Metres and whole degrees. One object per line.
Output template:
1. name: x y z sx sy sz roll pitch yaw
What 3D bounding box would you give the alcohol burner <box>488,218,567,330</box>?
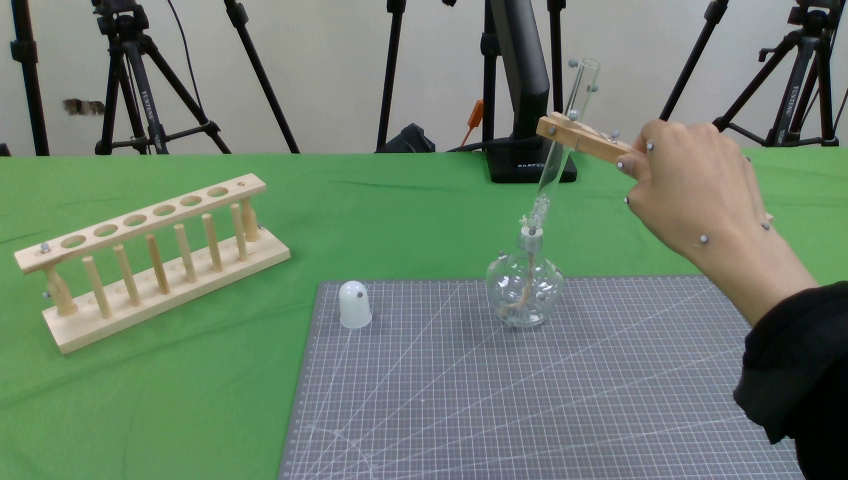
1. alcohol burner: 0.101 0.028 0.585 0.078 0.120 0.077 0 36 0

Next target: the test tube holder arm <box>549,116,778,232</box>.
1. test tube holder arm: 0.163 -0.052 0.436 0.177 0.015 0.013 32 49 31

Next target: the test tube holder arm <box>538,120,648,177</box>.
1. test tube holder arm: 0.126 -0.069 0.455 0.087 0.015 0.010 27 46 27

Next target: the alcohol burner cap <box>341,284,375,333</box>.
1. alcohol burner cap: -0.067 0.065 0.599 0.034 0.048 0.033 0 35 1

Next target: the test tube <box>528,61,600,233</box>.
1. test tube: 0.108 -0.067 0.479 0.017 0.151 0.017 7 37 -5

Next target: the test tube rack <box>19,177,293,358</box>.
1. test tube rack: -0.266 0.020 0.634 0.243 0.086 0.066 -25 41 -32
